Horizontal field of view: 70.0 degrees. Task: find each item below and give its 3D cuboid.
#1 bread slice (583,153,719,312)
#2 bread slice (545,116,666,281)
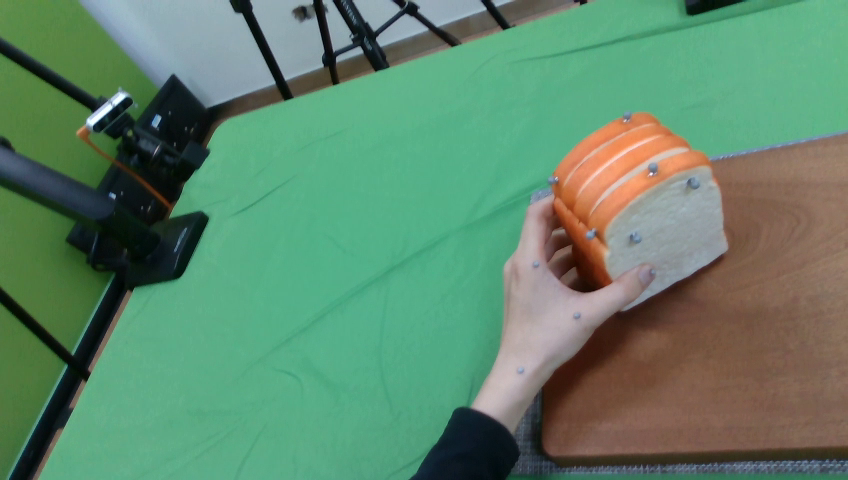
[{"bbox_3d":[0.171,-0.003,0.455,0.105,0.133,0.019,-33,47,3],"label":"bread slice"},{"bbox_3d":[0.156,-0.034,0.491,0.107,0.136,0.018,-30,41,-1],"label":"bread slice"}]
